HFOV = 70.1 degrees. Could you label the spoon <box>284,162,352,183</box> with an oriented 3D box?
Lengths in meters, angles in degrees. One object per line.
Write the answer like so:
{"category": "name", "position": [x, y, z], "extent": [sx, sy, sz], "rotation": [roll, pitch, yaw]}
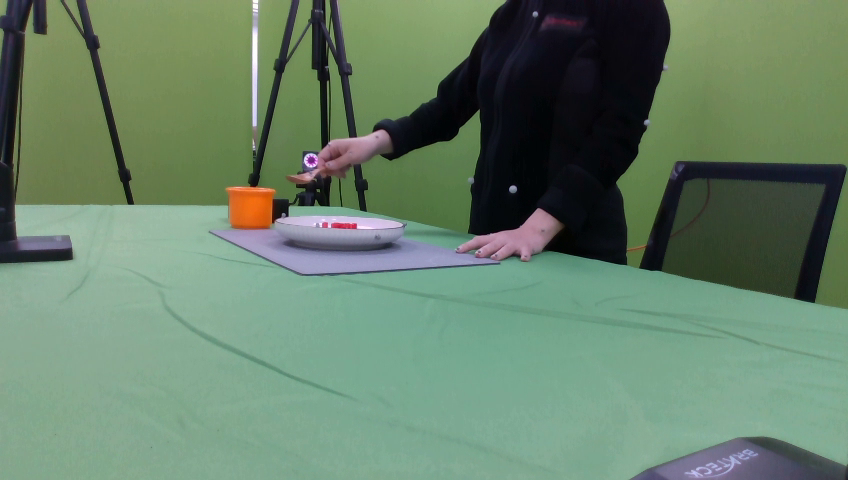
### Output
{"category": "spoon", "position": [-0.194, -0.133, 1.152], "extent": [0.041, 0.021, 0.194], "rotation": [15, 25, 26]}

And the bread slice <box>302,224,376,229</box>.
{"category": "bread slice", "position": [-0.133, -0.011, 0.974], "extent": [0.135, 0.018, 0.106], "rotation": [-2, 8, -33]}

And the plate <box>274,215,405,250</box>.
{"category": "plate", "position": [-0.136, -0.013, 0.981], "extent": [0.209, 0.038, 0.209], "rotation": [2, 7, 0]}
